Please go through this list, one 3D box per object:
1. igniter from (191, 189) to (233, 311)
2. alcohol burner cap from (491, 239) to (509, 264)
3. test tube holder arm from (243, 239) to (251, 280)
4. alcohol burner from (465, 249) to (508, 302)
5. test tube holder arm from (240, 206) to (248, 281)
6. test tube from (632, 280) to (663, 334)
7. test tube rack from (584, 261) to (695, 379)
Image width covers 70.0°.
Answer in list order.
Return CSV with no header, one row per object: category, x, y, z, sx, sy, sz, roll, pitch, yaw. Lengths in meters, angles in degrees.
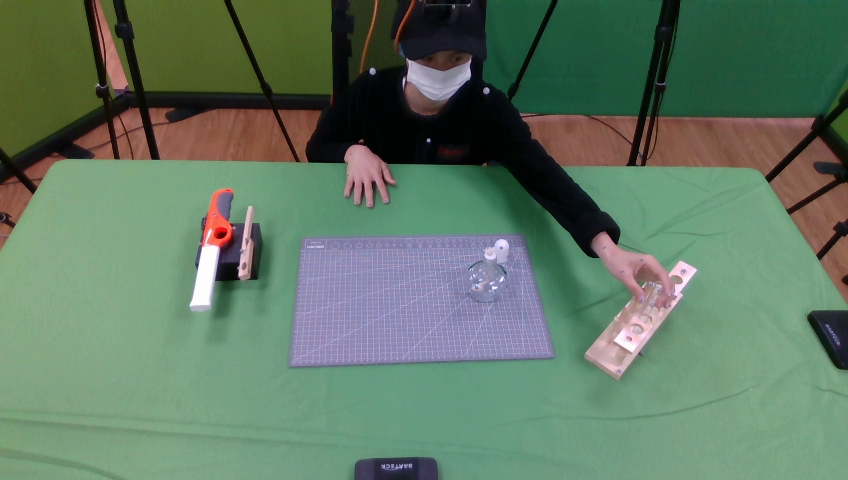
igniter,-0.381,0.008,1.092,0.057,0.025,0.274,-1,50,-6
alcohol burner cap,0.150,0.020,1.174,0.034,0.048,0.033,2,46,-1
test tube holder arm,-0.315,0.034,1.077,0.010,0.015,0.087,-5,47,-8
alcohol burner,0.114,0.057,1.085,0.078,0.120,0.077,2,48,-2
test tube holder arm,-0.328,0.002,1.106,0.013,0.015,0.177,-6,48,-10
test tube,0.363,0.122,0.997,0.017,0.151,0.017,2,44,-1
test tube rack,0.380,0.127,1.062,0.066,0.085,0.242,34,53,26
